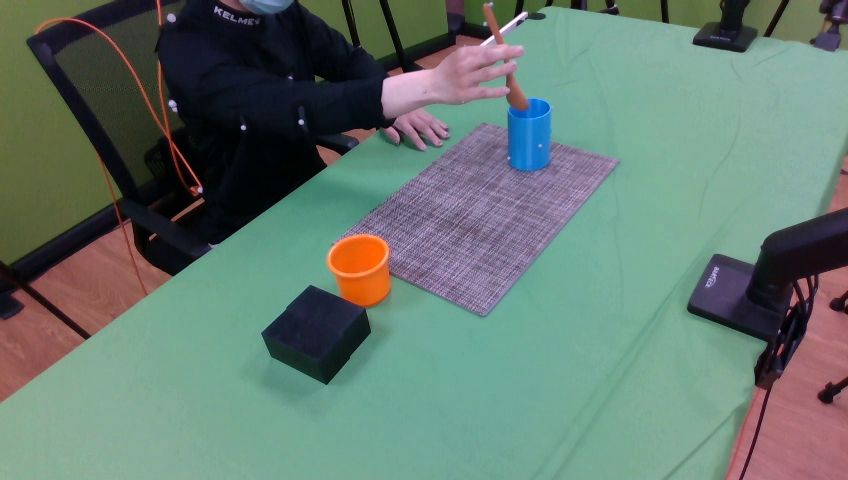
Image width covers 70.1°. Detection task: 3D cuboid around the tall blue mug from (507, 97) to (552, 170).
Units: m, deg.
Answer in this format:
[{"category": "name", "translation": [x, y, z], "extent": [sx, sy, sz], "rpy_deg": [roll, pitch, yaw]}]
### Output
[{"category": "tall blue mug", "translation": [0.179, -0.198, 1.101], "extent": [0.078, 0.108, 0.106], "rpy_deg": [-36, 49, -28]}]

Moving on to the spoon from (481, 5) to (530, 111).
[{"category": "spoon", "translation": [0.130, -0.290, 0.979], "extent": [0.041, 0.195, 0.022], "rpy_deg": [13, 50, 45]}]
